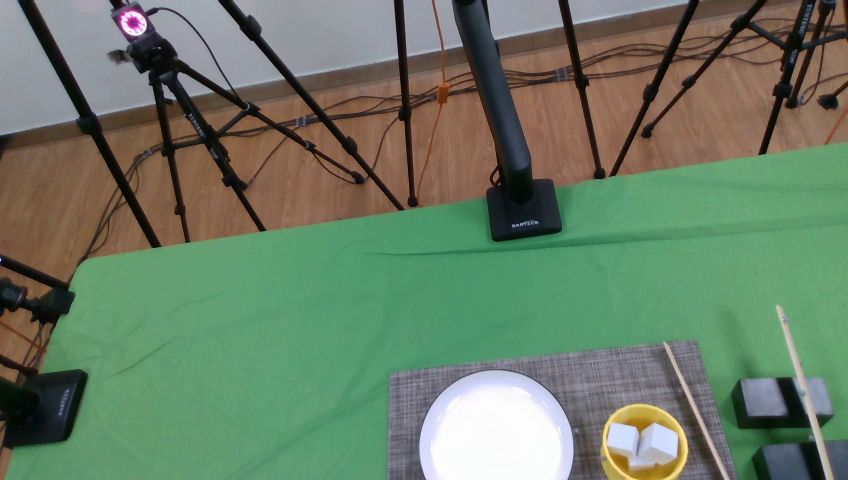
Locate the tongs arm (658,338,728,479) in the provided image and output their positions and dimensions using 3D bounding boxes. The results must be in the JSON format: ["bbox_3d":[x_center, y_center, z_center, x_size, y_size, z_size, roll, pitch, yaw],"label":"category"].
[{"bbox_3d":[0.379,0.288,0.746,0.028,0.028,0.383,-30,51,19],"label":"tongs arm"}]

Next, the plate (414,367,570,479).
[{"bbox_3d":[0.091,0.275,0.820,0.207,0.039,0.205,-6,55,9],"label":"plate"}]

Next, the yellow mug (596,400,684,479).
[{"bbox_3d":[0.264,0.274,0.761,0.099,0.064,0.130,21,63,24],"label":"yellow mug"}]

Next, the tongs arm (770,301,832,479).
[{"bbox_3d":[0.443,0.256,0.707,0.050,0.027,0.381,-21,56,30],"label":"tongs arm"}]
